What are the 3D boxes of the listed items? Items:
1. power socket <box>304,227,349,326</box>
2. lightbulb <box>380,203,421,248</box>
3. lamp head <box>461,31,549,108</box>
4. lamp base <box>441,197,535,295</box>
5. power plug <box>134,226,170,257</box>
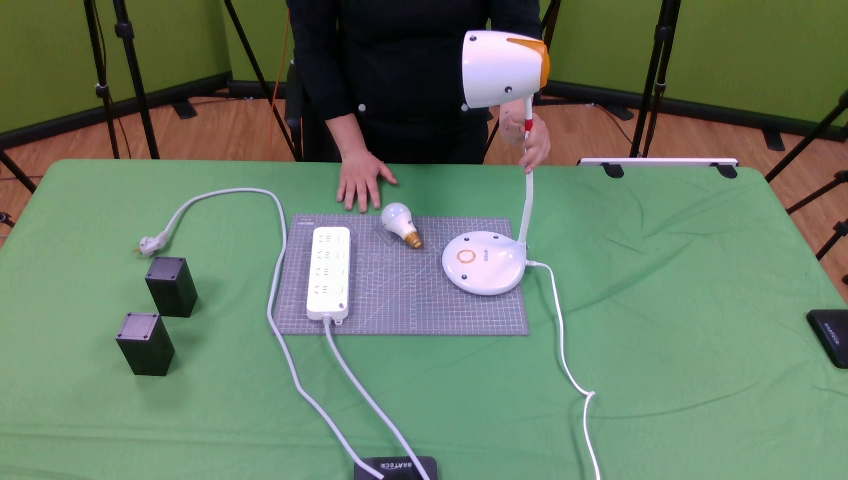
[{"bbox_3d":[-0.177,0.059,1.115,0.072,0.033,0.225,-1,46,-4],"label":"power socket"},{"bbox_3d":[-0.042,-0.026,1.197,0.059,0.060,0.107,-28,68,-28],"label":"lightbulb"},{"bbox_3d":[0.122,-0.251,0.895,0.123,0.113,0.112,5,45,11],"label":"lamp head"},{"bbox_3d":[0.129,-0.012,1.105,0.179,0.181,0.159,-1,45,-9],"label":"lamp base"},{"bbox_3d":[-0.515,0.005,1.152,0.052,0.035,0.072,-5,24,7],"label":"power plug"}]
